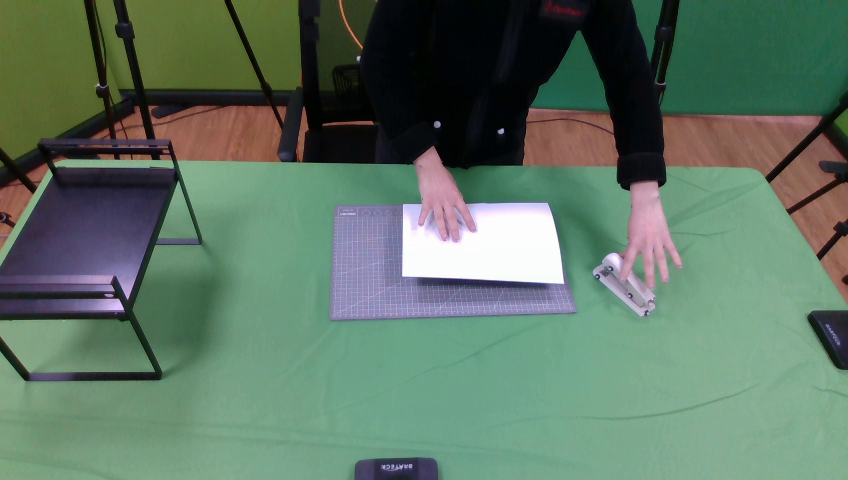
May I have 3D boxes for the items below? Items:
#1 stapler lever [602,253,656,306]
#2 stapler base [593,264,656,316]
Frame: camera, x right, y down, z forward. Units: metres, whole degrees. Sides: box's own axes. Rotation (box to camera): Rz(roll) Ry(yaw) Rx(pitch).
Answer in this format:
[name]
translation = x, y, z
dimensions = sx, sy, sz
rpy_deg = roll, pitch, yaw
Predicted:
[stapler lever]
translation = 0.379, 0.070, 1.122
dimensions = 0.027, 0.040, 0.117
rpy_deg = -28, 54, -21
[stapler base]
translation = 0.377, 0.086, 1.141
dimensions = 0.041, 0.024, 0.130
rpy_deg = -28, 56, -21
